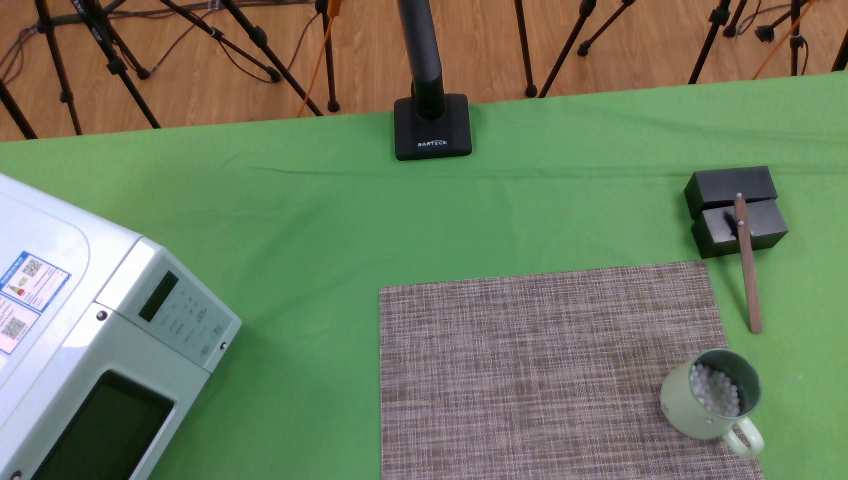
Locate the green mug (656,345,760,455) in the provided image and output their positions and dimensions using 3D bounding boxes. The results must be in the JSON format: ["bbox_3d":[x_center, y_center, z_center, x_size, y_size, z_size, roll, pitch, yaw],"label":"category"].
[{"bbox_3d":[0.335,0.188,0.699,0.092,0.106,0.124,-27,65,-9],"label":"green mug"}]

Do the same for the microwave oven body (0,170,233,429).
[{"bbox_3d":[-0.491,0.175,0.683,0.324,0.262,0.440,22,68,14],"label":"microwave oven body"}]

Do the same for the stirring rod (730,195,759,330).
[{"bbox_3d":[0.417,0.029,0.788,0.014,0.006,0.176,-7,88,13],"label":"stirring rod"}]

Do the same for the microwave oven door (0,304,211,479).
[{"bbox_3d":[-0.378,0.259,0.628,0.039,0.246,0.354,21,67,15],"label":"microwave oven door"}]

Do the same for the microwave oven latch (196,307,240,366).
[{"bbox_3d":[-0.275,0.124,0.800,0.030,0.030,0.079,23,69,14],"label":"microwave oven latch"}]
